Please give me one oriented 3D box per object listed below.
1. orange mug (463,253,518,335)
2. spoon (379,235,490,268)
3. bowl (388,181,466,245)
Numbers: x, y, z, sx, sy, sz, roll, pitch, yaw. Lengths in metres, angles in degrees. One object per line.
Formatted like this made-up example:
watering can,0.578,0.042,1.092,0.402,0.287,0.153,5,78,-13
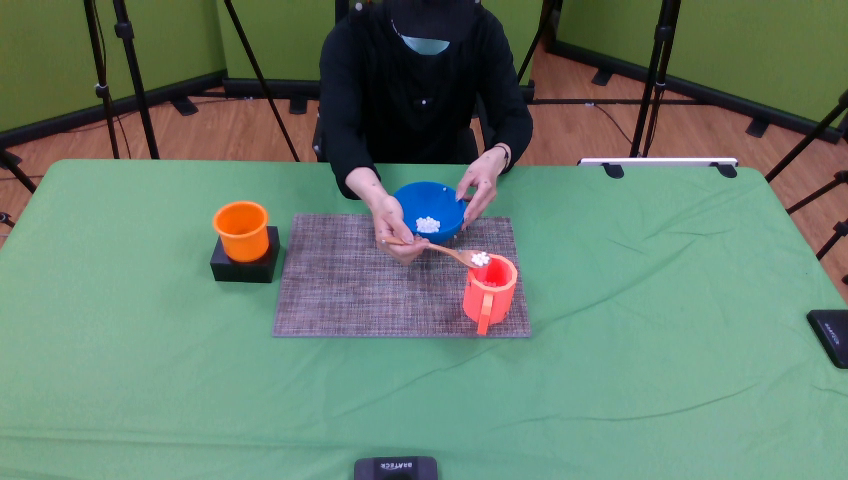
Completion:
orange mug,0.113,0.098,1.049,0.083,0.101,0.125,9,41,6
spoon,0.019,0.014,1.002,0.194,0.022,0.041,15,46,-18
bowl,0.005,-0.039,1.190,0.151,0.077,0.150,2,46,-2
